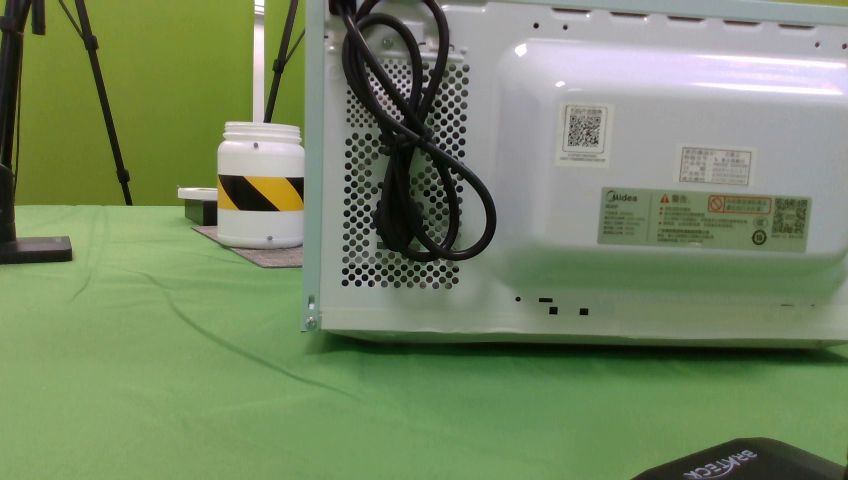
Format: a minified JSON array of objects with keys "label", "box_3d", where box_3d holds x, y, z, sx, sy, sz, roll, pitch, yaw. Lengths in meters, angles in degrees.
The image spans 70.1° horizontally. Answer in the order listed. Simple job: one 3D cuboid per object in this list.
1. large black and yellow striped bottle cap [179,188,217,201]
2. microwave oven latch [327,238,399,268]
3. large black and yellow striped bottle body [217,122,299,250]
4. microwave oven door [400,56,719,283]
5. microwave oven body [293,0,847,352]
[{"label":"large black and yellow striped bottle cap","box_3d":[-0.434,-0.093,1.226,0.115,0.019,0.115,3,9,0]},{"label":"microwave oven latch","box_3d":[-0.069,0.015,0.694,0.079,0.029,0.030,3,7,-3]},{"label":"large black and yellow striped bottle body","box_3d":[-0.250,-0.084,0.931,0.131,0.184,0.130,3,7,0]},{"label":"microwave oven door","box_3d":[0.155,-0.077,0.698,0.356,0.243,0.039,2,8,-5]},{"label":"microwave oven body","box_3d":[0.122,-0.055,0.550,0.442,0.260,0.325,3,7,-5]}]
